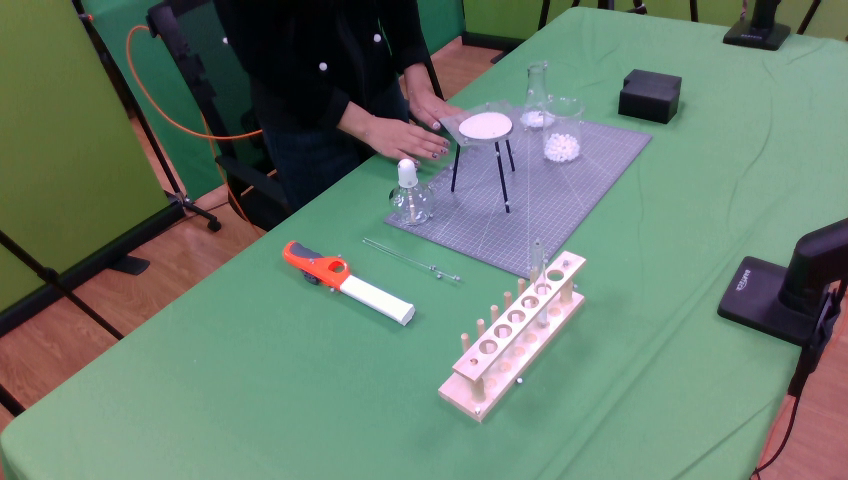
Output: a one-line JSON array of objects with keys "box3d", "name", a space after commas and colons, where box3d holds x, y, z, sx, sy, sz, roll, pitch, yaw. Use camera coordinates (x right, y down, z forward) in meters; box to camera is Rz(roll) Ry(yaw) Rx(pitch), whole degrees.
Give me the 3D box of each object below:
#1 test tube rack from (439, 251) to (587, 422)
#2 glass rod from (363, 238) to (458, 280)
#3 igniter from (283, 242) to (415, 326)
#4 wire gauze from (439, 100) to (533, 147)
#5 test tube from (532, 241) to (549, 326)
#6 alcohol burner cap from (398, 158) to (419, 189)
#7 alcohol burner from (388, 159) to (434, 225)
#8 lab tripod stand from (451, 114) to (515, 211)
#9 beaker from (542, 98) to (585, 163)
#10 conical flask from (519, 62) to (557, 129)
[{"box3d": [0.118, 0.111, 0.780, 0.066, 0.085, 0.243, 26, 51, 35], "name": "test tube rack"}, {"box3d": [-0.026, 0.029, 0.966, 0.198, 0.008, 0.008, 21, 49, 35], "name": "glass rod"}, {"box3d": [-0.126, 0.062, 0.931, 0.274, 0.025, 0.057, 24, 61, 33], "name": "igniter"}, {"box3d": [0.100, -0.190, 0.994, 0.125, 0.011, 0.120, -15, 39, -7], "name": "wire gauze"}, {"box3d": [0.147, 0.059, 0.760, 0.017, 0.151, 0.017, -7, 44, 7], "name": "test tube"}, {"box3d": [-0.027, -0.111, 0.989, 0.034, 0.048, 0.033, -3, 46, 4], "name": "alcohol burner cap"}, {"box3d": [-0.023, -0.084, 1.013, 0.078, 0.119, 0.077, -4, 39, 4], "name": "alcohol burner"}, {"box3d": [0.113, -0.140, 1.037, 0.148, 0.132, 0.147, -6, 38, 5], "name": "lab tripod stand"}, {"box3d": [0.255, -0.200, 1.107, 0.073, 0.101, 0.084, 9, 43, 21], "name": "beaker"}, {"box3d": [0.225, -0.287, 1.198, 0.075, 0.122, 0.075, -6, 40, 5], "name": "conical flask"}]
